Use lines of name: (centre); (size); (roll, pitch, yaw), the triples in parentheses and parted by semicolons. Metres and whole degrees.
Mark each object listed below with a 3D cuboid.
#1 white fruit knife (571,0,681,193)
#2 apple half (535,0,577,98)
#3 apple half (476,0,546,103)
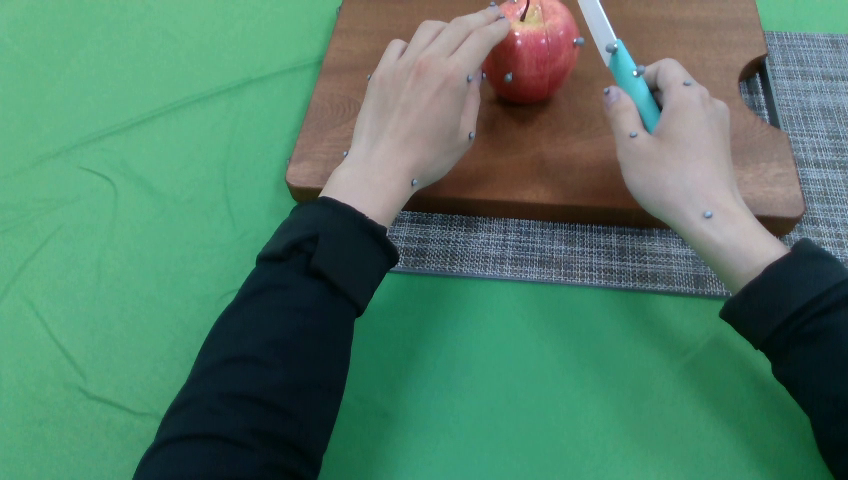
white fruit knife: (0.133, -0.131, 0.434); (0.016, 0.027, 0.207); (-22, 84, -17)
apple half: (0.109, -0.160, 0.501); (0.033, 0.082, 0.080); (-7, 57, 5)
apple half: (0.070, -0.155, 0.503); (0.053, 0.075, 0.080); (-7, 60, 6)
